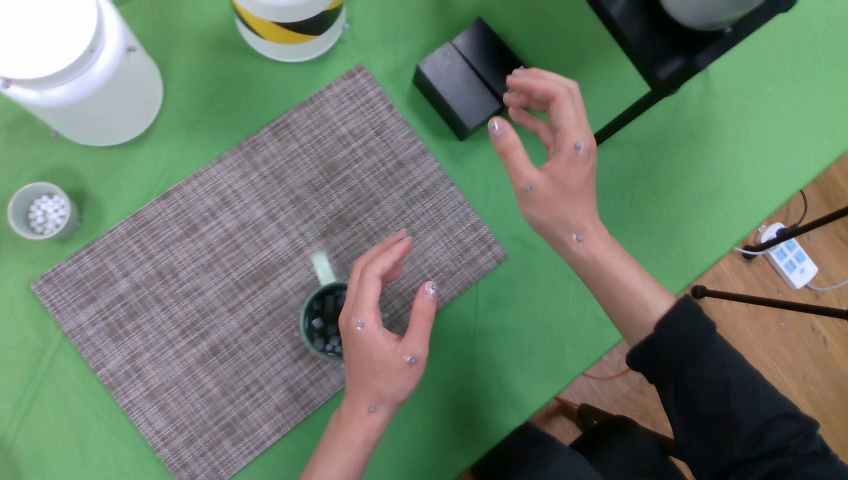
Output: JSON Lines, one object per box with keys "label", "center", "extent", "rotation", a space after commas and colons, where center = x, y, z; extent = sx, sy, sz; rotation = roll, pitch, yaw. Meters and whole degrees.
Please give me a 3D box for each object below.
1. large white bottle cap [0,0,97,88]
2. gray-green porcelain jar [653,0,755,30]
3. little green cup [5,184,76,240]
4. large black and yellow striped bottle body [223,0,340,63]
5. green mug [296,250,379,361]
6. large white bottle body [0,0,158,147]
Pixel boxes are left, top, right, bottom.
{"label": "large white bottle cap", "center": [-0.349, -0.190, 0.528], "extent": [0.115, 0.018, 0.114], "rotation": [1, 83, -8]}
{"label": "gray-green porcelain jar", "center": [0.280, -0.268, 0.565], "extent": [0.106, 0.126, 0.105], "rotation": [1, 82, -8]}
{"label": "little green cup", "center": [-0.413, -0.028, 0.658], "extent": [0.062, 0.038, 0.061], "rotation": [1, 83, -9]}
{"label": "large black and yellow striped bottle body", "center": [-0.158, -0.288, 0.655], "extent": [0.131, 0.184, 0.130], "rotation": [1, 82, -8]}
{"label": "green mug", "center": [-0.099, 0.071, 0.656], "extent": [0.092, 0.105, 0.125], "rotation": [-21, 86, -10]}
{"label": "large white bottle body", "center": [-0.361, -0.179, 0.610], "extent": [0.131, 0.184, 0.130], "rotation": [1, 82, -8]}
